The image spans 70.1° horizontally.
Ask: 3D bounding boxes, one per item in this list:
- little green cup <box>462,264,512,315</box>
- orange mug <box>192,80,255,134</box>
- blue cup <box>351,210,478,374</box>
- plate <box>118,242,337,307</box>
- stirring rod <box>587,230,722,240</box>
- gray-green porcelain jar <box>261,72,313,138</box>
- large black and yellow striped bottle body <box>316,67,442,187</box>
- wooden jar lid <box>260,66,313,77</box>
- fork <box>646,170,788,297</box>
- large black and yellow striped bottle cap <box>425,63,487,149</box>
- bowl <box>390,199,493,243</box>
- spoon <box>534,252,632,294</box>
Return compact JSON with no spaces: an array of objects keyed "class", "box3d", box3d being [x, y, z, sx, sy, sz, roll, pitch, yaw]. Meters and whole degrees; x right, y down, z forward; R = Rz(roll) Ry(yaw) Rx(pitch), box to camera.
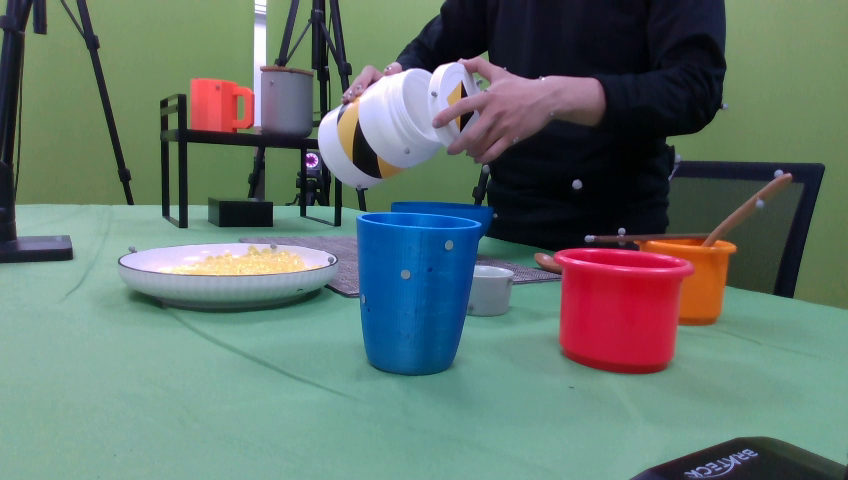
[{"class":"little green cup","box3d":[0.053,0.047,0.580,0.061,0.038,0.061,3,8,0]},{"class":"orange mug","box3d":[-0.388,-0.257,1.173,0.126,0.101,0.083,-1,7,9]},{"class":"blue cup","box3d":[-0.009,0.034,0.414,0.093,0.100,0.092,4,8,0]},{"class":"plate","box3d":[-0.194,0.033,0.615,0.209,0.038,0.209,2,7,0]},{"class":"stirring rod","box3d":[0.227,-0.005,0.585,0.177,0.006,0.014,-2,7,-28]},{"class":"gray-green porcelain jar","box3d":[-0.284,-0.276,1.253,0.106,0.126,0.106,2,8,0]},{"class":"large black and yellow striped bottle body","box3d":[-0.059,-0.166,0.897,0.131,0.130,0.183,-6,-11,-46]},{"class":"wooden jar lid","box3d":[-0.283,-0.339,1.244,0.108,0.020,0.108,5,9,0]},{"class":"fork","box3d":[0.256,0.004,0.543,0.028,0.018,0.207,3,-36,-10]},{"class":"large black and yellow striped bottle cap","box3d":[0.045,-0.179,0.809,0.018,0.115,0.115,-12,-3,39]},{"class":"bowl","box3d":[0.023,-0.016,0.874,0.151,0.077,0.151,3,7,0]},{"class":"spoon","box3d":[0.193,0.038,0.753,0.042,0.021,0.193,14,2,-21]}]
